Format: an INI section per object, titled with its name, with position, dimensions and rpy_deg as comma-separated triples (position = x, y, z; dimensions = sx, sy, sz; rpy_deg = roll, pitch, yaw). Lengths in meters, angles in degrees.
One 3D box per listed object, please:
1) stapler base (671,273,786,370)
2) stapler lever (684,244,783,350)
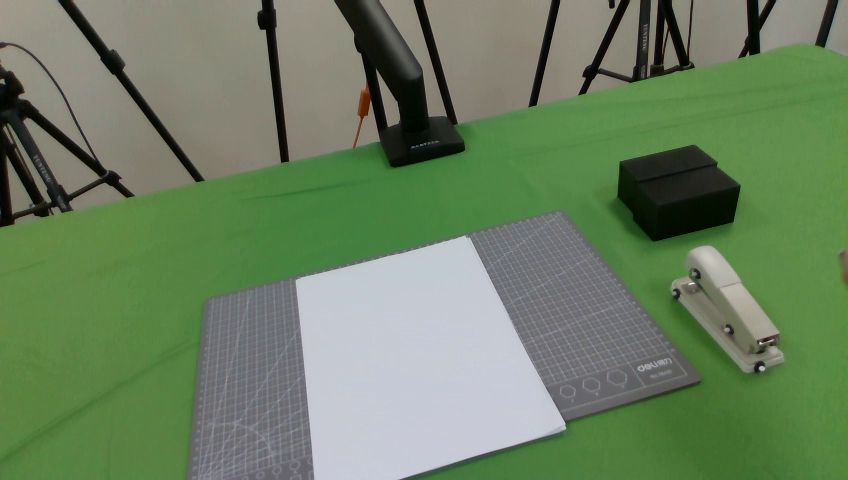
[stapler base]
position = 0.287, 0.067, 0.579
dimensions = 0.041, 0.025, 0.129
rpy_deg = -16, 38, -6
[stapler lever]
position = 0.284, 0.048, 0.562
dimensions = 0.027, 0.040, 0.116
rpy_deg = -16, 38, -6
